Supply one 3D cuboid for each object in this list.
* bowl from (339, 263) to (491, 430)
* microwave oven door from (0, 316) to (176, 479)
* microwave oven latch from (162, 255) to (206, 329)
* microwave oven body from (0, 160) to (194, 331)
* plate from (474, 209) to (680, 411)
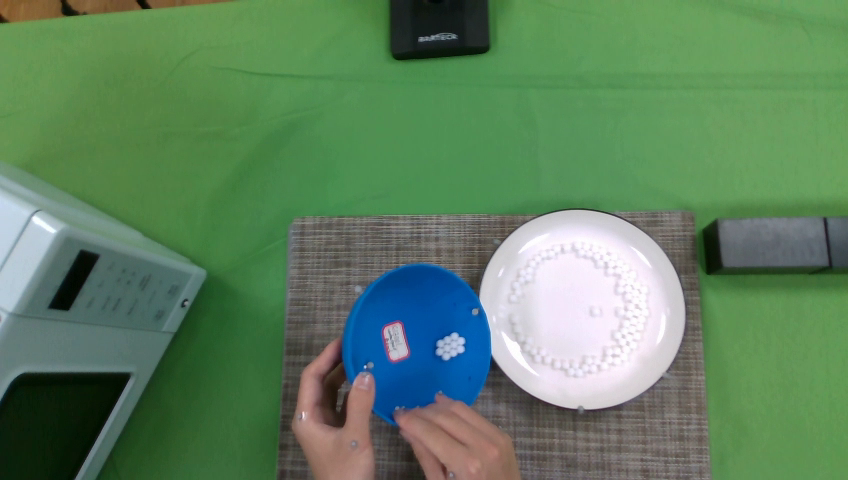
[{"bbox_3d":[-0.020,0.101,0.581,0.152,0.076,0.151,6,79,-29],"label":"bowl"},{"bbox_3d":[-0.389,0.231,0.553,0.039,0.245,0.355,25,83,13],"label":"microwave oven door"},{"bbox_3d":[-0.276,0.059,0.677,0.030,0.029,0.079,27,84,11],"label":"microwave oven latch"},{"bbox_3d":[-0.499,0.134,0.591,0.325,0.261,0.441,25,84,11],"label":"microwave oven body"},{"bbox_3d":[0.156,0.072,0.634,0.207,0.039,0.206,-1,79,7],"label":"plate"}]
